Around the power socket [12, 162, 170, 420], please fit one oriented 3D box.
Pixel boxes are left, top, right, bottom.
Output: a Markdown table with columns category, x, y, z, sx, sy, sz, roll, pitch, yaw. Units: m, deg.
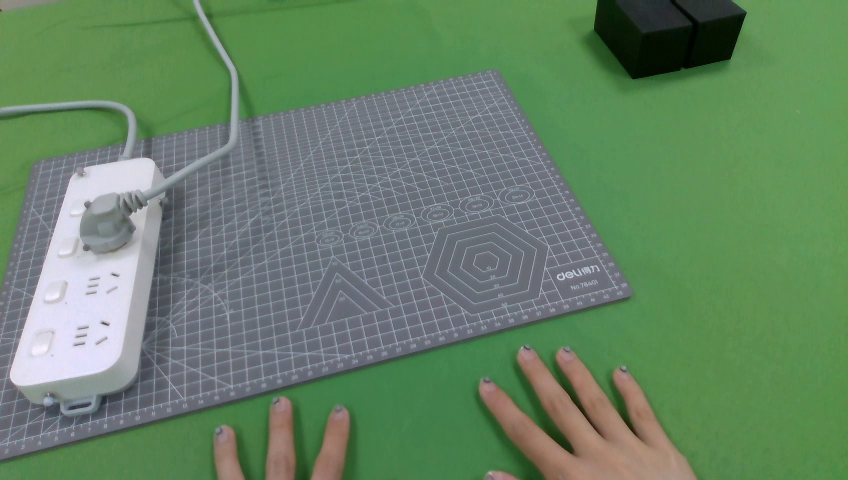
| category | x | y | z | sx | sy | sz | roll | pitch | yaw |
| --- | --- | --- | --- | --- | --- | --- | --- | --- | --- |
| power socket | -0.237 | 0.022 | 0.450 | 0.072 | 0.033 | 0.224 | -8 | 48 | -5 |

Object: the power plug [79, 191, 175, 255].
| category | x | y | z | sx | sy | sz | roll | pitch | yaw |
| --- | --- | --- | --- | --- | --- | --- | --- | --- | --- |
| power plug | -0.213 | -0.005 | 0.440 | 0.072 | 0.053 | 0.035 | -2 | 49 | 3 |
